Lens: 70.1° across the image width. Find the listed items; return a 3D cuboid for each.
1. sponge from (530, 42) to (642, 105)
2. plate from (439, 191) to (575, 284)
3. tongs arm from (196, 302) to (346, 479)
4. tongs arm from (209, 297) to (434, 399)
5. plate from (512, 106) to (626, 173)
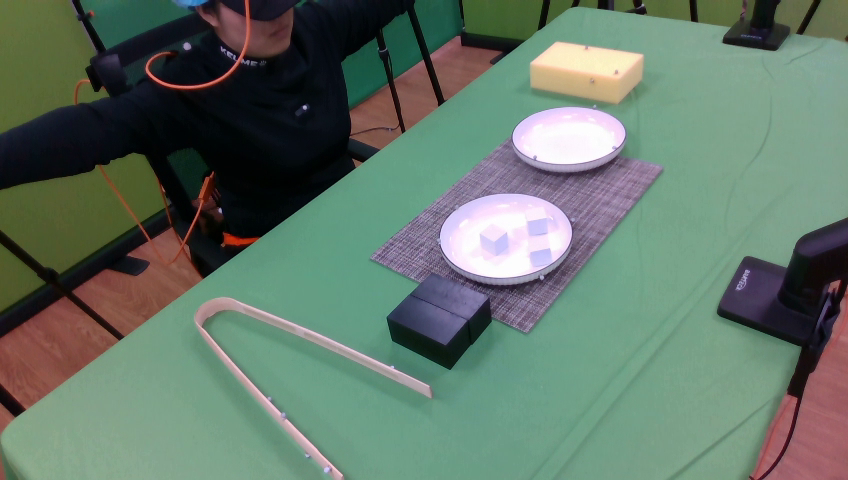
[{"bbox_3d":[0.350,-0.365,1.317,0.205,0.061,0.118,21,50,31],"label":"sponge"},{"bbox_3d":[0.128,-0.001,0.942,0.207,0.039,0.206,-5,40,5],"label":"plate"},{"bbox_3d":[-0.206,0.185,0.791,0.381,0.026,0.051,28,51,37],"label":"tongs arm"},{"bbox_3d":[-0.153,0.143,0.837,0.385,0.028,0.028,16,49,28],"label":"tongs arm"},{"bbox_3d":[0.268,-0.185,1.132,0.209,0.038,0.208,-5,40,5],"label":"plate"}]
